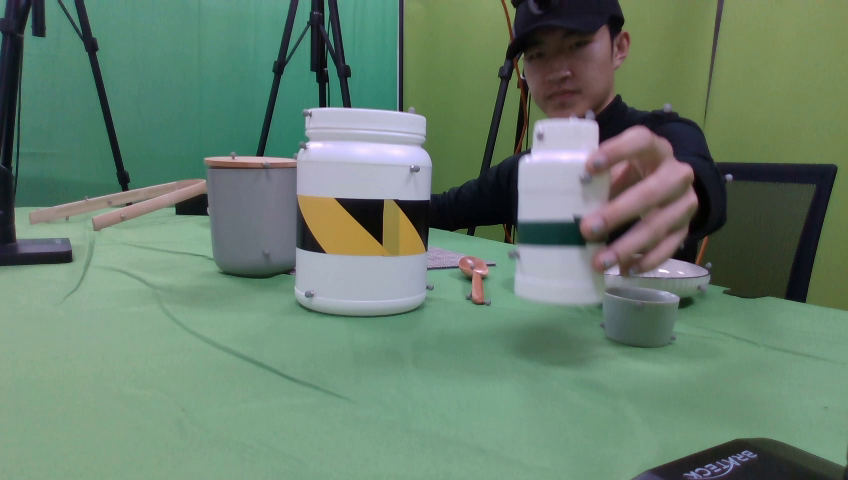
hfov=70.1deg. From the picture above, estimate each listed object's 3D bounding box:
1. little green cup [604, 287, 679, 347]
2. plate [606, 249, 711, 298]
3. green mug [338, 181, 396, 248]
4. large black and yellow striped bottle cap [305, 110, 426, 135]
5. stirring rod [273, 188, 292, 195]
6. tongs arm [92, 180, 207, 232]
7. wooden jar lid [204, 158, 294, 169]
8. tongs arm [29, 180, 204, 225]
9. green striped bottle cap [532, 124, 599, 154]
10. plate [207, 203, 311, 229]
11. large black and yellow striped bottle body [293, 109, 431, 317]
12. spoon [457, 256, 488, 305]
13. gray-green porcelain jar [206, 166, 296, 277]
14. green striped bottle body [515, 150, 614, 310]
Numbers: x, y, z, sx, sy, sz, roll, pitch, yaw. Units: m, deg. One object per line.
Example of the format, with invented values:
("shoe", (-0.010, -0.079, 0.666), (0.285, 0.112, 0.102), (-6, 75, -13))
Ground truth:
("little green cup", (0.180, 0.064, 0.506), (0.061, 0.038, 0.061), (2, 8, 0))
("plate", (0.219, 0.042, 0.706), (0.209, 0.038, 0.209), (2, 7, 0))
("green mug", (-0.097, -0.044, 0.995), (0.093, 0.105, 0.125), (-1, 8, -21))
("large black and yellow striped bottle cap", (-0.055, -0.110, 0.574), (0.115, 0.019, 0.115), (1, 7, 0))
("stirring rod", (-0.354, -0.122, 1.519), (0.006, 0.014, 0.176), (2, 6, 1))
("tongs arm", (-0.534, -0.076, 1.221), (0.028, 0.028, 0.388), (-2, 15, 12))
("wooden jar lid", (-0.202, -0.086, 0.714), (0.108, 0.020, 0.108), (3, 11, 0))
("tongs arm", (-0.609, -0.083, 1.245), (0.050, 0.026, 0.386), (5, 16, 23))
("green striped bottle cap", (0.096, -0.067, 0.413), (0.044, 0.020, 0.044), (2, 3, 0))
("plate", (-0.342, -0.050, 1.259), (0.208, 0.039, 0.207), (2, 7, 0))
("large black and yellow striped bottle body", (-0.060, -0.028, 0.584), (0.131, 0.184, 0.130), (3, 7, 0))
("spoon", (0.059, 0.044, 0.696), (0.041, 0.021, 0.193), (22, 7, 0))
("gray-green porcelain jar", (-0.201, -0.024, 0.724), (0.106, 0.126, 0.106), (-1, 9, 1))
("green striped bottle body", (0.097, -0.016, 0.417), (0.063, 0.119, 0.063), (2, 6, 0))
